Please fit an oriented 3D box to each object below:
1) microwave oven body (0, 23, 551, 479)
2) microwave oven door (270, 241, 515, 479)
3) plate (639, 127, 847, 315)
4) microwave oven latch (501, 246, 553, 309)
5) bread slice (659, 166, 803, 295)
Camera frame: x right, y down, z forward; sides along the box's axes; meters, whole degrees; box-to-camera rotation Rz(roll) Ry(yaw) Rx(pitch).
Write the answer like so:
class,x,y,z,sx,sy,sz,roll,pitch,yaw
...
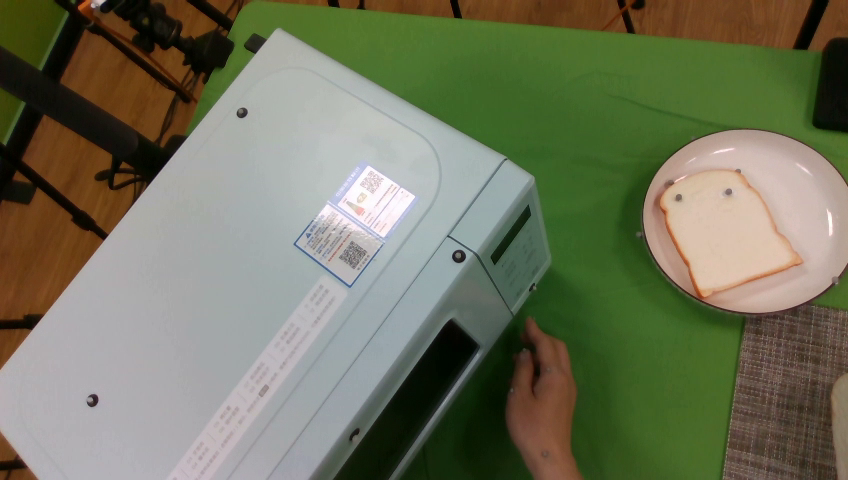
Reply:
class,x,y,z,sx,sy,sz,roll,pitch,yaw
microwave oven body,-0.132,0.072,0.619,0.323,0.262,0.441,34,84,22
microwave oven door,-0.046,0.179,0.554,0.039,0.246,0.355,34,83,23
plate,0.337,-0.019,0.646,0.207,0.039,0.206,-5,71,14
microwave oven latch,0.111,0.037,0.669,0.030,0.030,0.079,36,85,22
bread slice,0.314,-0.015,0.648,0.107,0.018,0.133,-23,66,4
